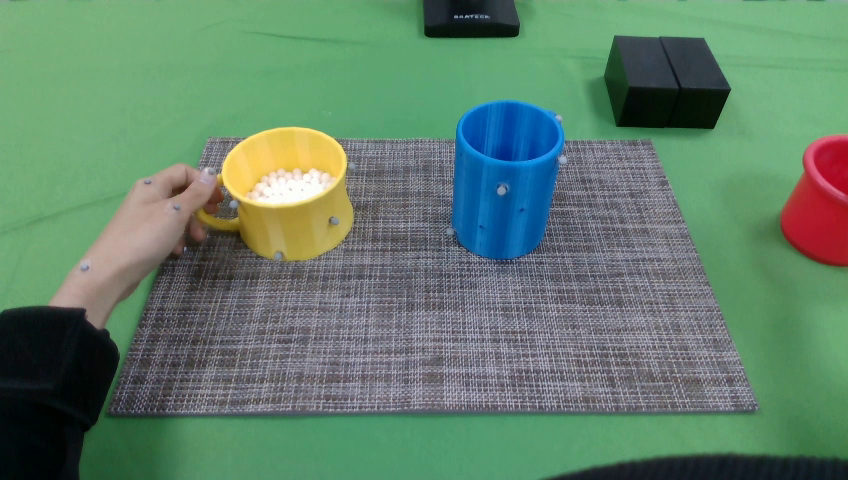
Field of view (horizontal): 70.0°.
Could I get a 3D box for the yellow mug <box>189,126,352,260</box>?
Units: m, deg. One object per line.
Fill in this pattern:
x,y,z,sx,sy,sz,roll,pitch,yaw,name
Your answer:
-0.129,-0.038,0.509,0.131,0.064,0.099,-11,49,-10,yellow mug

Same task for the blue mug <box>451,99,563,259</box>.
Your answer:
0.076,-0.057,0.505,0.081,0.107,0.116,36,56,28,blue mug
